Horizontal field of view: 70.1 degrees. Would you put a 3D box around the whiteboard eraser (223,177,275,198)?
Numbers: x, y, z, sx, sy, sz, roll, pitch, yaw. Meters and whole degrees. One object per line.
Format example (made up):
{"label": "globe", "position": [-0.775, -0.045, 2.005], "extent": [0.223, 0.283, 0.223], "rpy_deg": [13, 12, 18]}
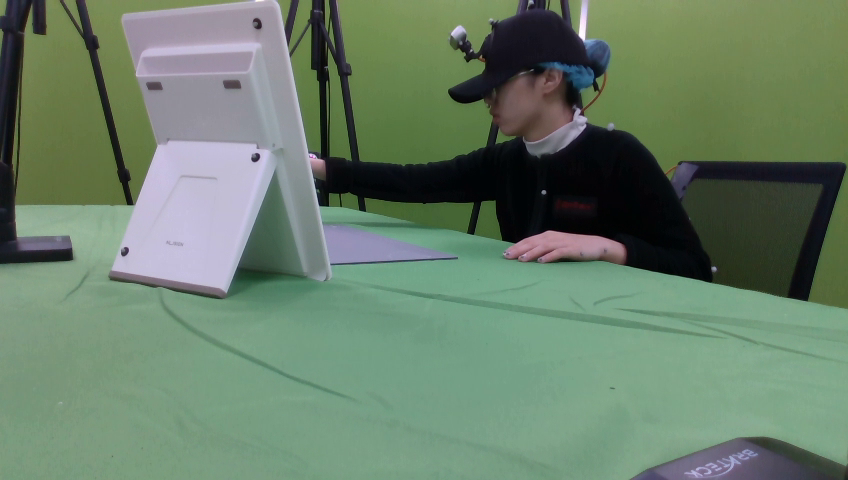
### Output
{"label": "whiteboard eraser", "position": [-0.377, -0.113, 1.308], "extent": [0.055, 0.042, 0.113], "rpy_deg": [6, 11, 20]}

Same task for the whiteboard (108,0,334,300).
{"label": "whiteboard", "position": [-0.248, -0.072, 0.624], "extent": [0.216, 0.305, 0.144], "rpy_deg": [6, 28, 26]}
